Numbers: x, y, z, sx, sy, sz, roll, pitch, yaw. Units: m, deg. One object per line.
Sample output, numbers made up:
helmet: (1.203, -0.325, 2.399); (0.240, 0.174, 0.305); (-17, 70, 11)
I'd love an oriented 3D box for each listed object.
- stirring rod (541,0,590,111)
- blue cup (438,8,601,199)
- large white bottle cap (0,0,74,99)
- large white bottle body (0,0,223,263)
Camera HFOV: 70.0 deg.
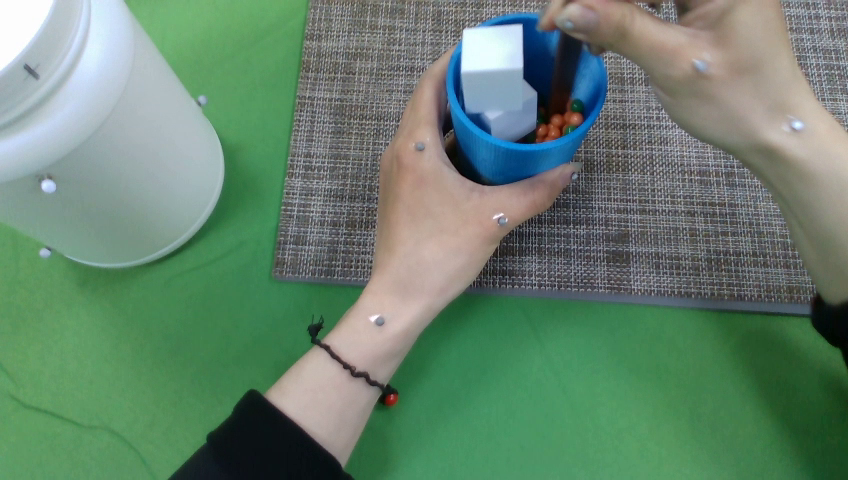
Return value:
stirring rod: (0.071, -0.099, 0.298); (0.014, 0.177, 0.006); (-27, 72, -3)
blue cup: (0.053, -0.070, 0.364); (0.092, 0.101, 0.092); (-1, 73, 3)
large white bottle cap: (-0.204, -0.099, 0.247); (0.115, 0.018, 0.114); (0, 72, 1)
large white bottle body: (-0.202, -0.072, 0.327); (0.130, 0.185, 0.130); (0, 72, 1)
